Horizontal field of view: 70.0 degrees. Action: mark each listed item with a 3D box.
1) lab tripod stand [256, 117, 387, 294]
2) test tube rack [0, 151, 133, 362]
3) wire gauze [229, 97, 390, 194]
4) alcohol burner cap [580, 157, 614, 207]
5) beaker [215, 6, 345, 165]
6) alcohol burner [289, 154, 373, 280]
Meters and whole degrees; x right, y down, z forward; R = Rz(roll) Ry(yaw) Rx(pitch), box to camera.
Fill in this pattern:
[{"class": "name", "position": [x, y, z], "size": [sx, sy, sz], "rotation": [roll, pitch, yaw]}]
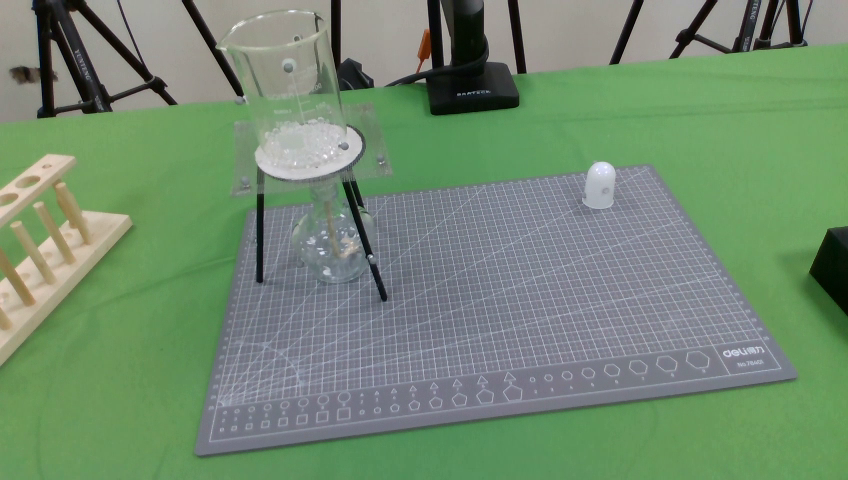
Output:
[{"class": "lab tripod stand", "position": [-0.092, -0.029, 0.539], "size": [0.148, 0.133, 0.147], "rotation": [-3, 42, 3]}, {"class": "test tube rack", "position": [-0.378, 0.022, 0.550], "size": [0.066, 0.086, 0.240], "rotation": [6, 41, 13]}, {"class": "wire gauze", "position": [-0.097, -0.078, 0.496], "size": [0.125, 0.011, 0.120], "rotation": [-12, 39, -4]}, {"class": "alcohol burner cap", "position": [0.178, -0.062, 0.621], "size": [0.034, 0.048, 0.033], "rotation": [-3, 40, 3]}, {"class": "beaker", "position": [-0.104, -0.115, 0.464], "size": [0.084, 0.101, 0.073], "rotation": [-11, 40, -5]}, {"class": "alcohol burner", "position": [-0.086, -0.023, 0.546], "size": [0.078, 0.120, 0.077], "rotation": [-4, 39, 3]}]
